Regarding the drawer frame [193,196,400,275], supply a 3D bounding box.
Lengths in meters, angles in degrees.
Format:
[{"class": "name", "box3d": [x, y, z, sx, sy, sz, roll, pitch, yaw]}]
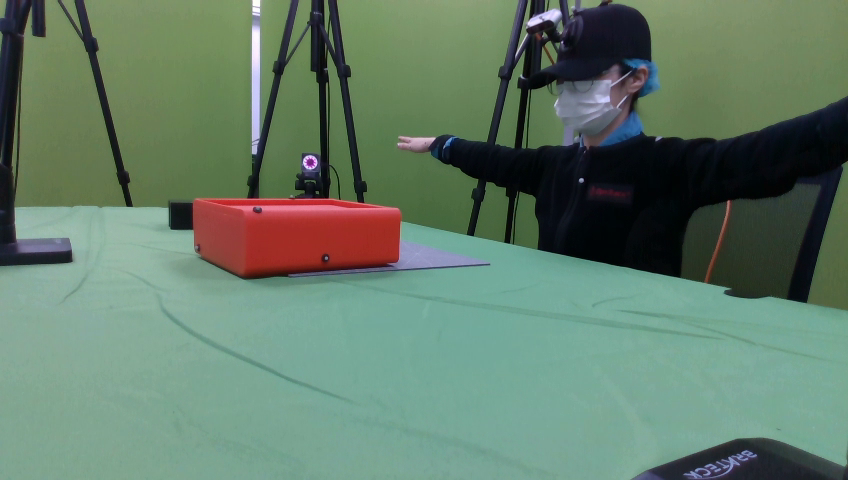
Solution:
[{"class": "drawer frame", "box3d": [-0.173, -0.014, 0.815, 0.215, 0.082, 0.200, -4, 10, -37]}]

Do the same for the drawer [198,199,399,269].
[{"class": "drawer", "box3d": [-0.171, -0.014, 0.818, 0.213, 0.073, 0.193, -4, 10, -36]}]

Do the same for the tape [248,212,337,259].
[{"class": "tape", "box3d": [-0.176, -0.008, 0.814, 0.117, 0.052, 0.117, 3, 6, 0]}]
